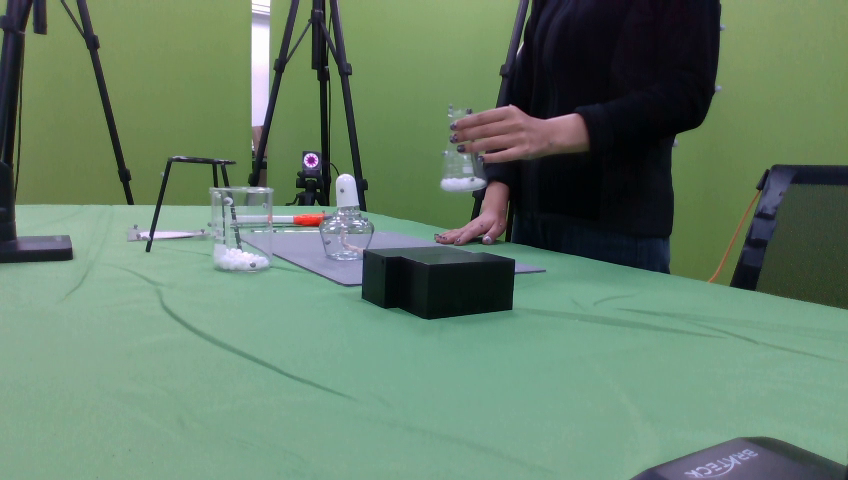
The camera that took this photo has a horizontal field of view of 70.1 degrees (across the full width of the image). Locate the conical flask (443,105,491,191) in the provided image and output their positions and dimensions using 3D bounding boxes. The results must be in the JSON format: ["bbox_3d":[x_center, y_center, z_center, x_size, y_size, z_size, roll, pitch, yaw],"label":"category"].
[{"bbox_3d":[0.061,-0.140,0.912,0.075,0.122,0.075,-5,15,2],"label":"conical flask"}]

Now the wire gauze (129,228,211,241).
[{"bbox_3d":[-0.419,-0.010,0.999,0.122,0.011,0.124,0,6,-25],"label":"wire gauze"}]

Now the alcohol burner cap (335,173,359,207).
[{"bbox_3d":[-0.108,-0.068,0.829,0.034,0.048,0.034,-7,4,1],"label":"alcohol burner cap"}]

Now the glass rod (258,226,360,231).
[{"bbox_3d":[-0.215,-0.022,1.151,0.201,0.008,0.008,-2,8,-27],"label":"glass rod"}]

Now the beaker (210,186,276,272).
[{"bbox_3d":[-0.224,-0.014,0.738,0.084,0.100,0.074,4,7,16],"label":"beaker"}]

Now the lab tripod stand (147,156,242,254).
[{"bbox_3d":[-0.310,-0.050,0.858,0.148,0.131,0.148,4,6,0],"label":"lab tripod stand"}]

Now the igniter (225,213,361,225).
[{"bbox_3d":[-0.257,-0.042,1.221,0.278,0.025,0.057,-2,-2,-32],"label":"igniter"}]

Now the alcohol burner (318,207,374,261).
[{"bbox_3d":[-0.107,-0.032,0.833,0.078,0.119,0.078,1,6,0],"label":"alcohol burner"}]
